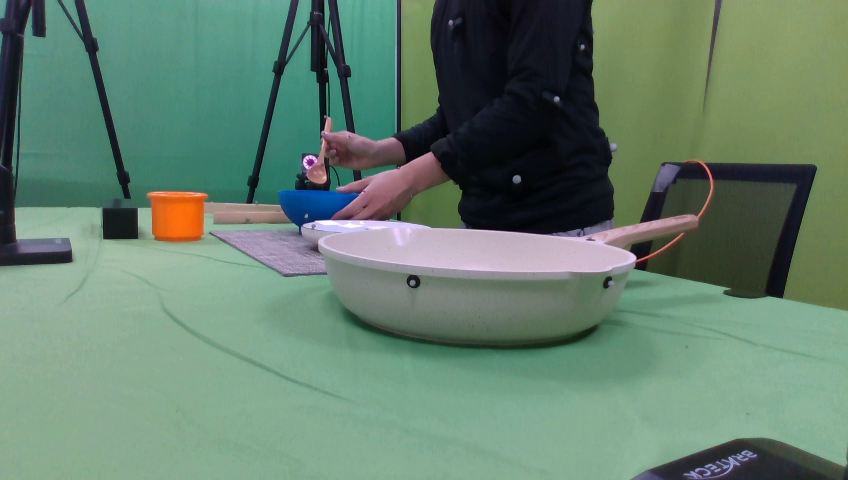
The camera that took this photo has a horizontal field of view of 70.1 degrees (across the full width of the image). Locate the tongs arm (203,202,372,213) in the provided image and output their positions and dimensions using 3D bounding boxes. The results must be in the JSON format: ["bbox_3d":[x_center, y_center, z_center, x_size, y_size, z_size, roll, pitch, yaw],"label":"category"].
[{"bbox_3d":[-0.312,-0.068,1.417,0.387,0.026,0.050,1,8,-24],"label":"tongs arm"}]

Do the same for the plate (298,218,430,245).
[{"bbox_3d":[-0.091,-0.006,0.949,0.208,0.039,0.207,2,8,0],"label":"plate"}]

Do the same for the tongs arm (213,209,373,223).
[{"bbox_3d":[-0.274,-0.054,1.347,0.390,0.028,0.028,-2,7,-37],"label":"tongs arm"}]

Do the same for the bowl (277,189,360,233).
[{"bbox_3d":[-0.195,-0.052,1.118,0.151,0.077,0.151,2,7,0],"label":"bowl"}]

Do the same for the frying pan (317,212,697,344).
[{"bbox_3d":[0.133,0.013,0.629,0.490,0.102,0.305,-12,14,-31],"label":"frying pan"}]

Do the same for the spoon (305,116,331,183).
[{"bbox_3d":[-0.216,-0.194,1.278,0.042,0.193,0.021,19,-34,-18],"label":"spoon"}]
